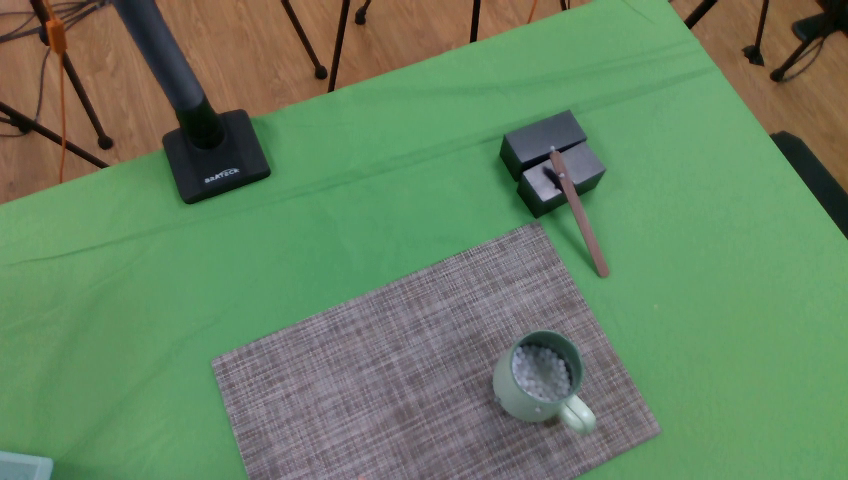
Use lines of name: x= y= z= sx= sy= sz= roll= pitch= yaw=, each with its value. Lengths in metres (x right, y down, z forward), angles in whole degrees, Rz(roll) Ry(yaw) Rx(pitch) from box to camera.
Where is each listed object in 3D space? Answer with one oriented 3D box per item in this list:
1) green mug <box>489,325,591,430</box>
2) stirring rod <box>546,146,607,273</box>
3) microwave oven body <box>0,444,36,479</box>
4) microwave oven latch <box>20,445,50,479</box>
green mug: x=0.135 y=0.159 z=0.675 sx=0.092 sy=0.105 sz=0.124 roll=-40 pitch=74 yaw=-17
stirring rod: x=0.196 y=-0.039 z=0.777 sx=0.014 sy=0.006 sz=0.176 roll=-24 pitch=95 yaw=0
microwave oven body: x=-0.577 y=0.373 z=0.478 sx=0.326 sy=0.262 sz=0.438 roll=4 pitch=68 yaw=-1
microwave oven latch: x=-0.421 y=0.258 z=0.636 sx=0.030 sy=0.030 sz=0.078 roll=6 pitch=68 yaw=0
